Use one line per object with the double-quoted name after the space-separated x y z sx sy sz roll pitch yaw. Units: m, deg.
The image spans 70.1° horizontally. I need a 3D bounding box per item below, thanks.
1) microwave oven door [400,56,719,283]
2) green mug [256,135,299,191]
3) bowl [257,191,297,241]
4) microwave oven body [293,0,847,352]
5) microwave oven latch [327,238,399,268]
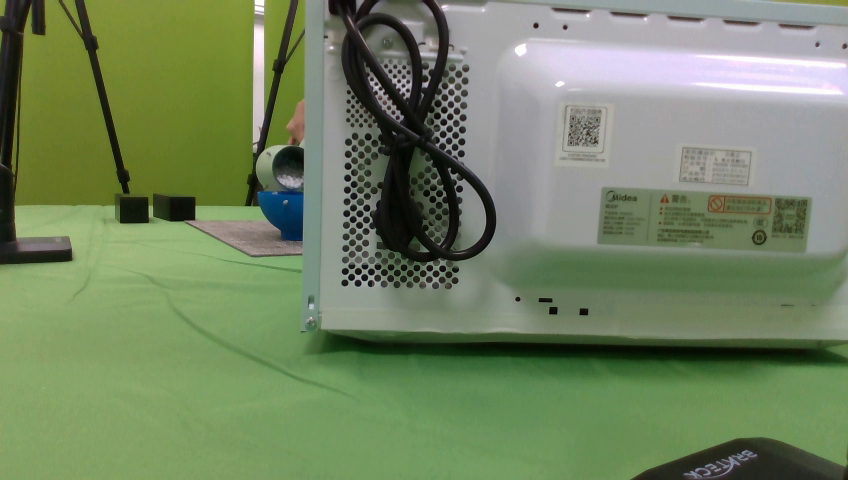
0.155 -0.077 0.697 0.356 0.243 0.039 2 8 -5 "microwave oven door"
-0.247 -0.145 1.115 0.093 0.125 0.104 31 -12 -26 "green mug"
-0.207 -0.041 1.027 0.151 0.077 0.151 2 7 0 "bowl"
0.122 -0.055 0.550 0.442 0.260 0.325 3 7 -5 "microwave oven body"
-0.069 0.014 0.694 0.079 0.029 0.030 3 7 -3 "microwave oven latch"
